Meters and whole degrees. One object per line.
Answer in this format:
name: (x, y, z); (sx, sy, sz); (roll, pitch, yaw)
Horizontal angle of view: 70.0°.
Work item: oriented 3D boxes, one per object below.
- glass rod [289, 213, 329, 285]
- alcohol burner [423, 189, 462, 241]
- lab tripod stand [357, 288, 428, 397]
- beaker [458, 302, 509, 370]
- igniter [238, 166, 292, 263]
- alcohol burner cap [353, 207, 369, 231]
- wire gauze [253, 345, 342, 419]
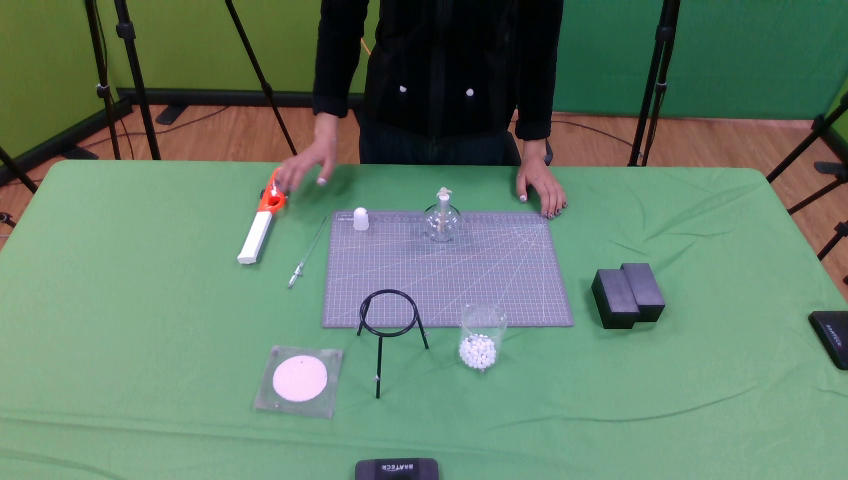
glass rod: (-0.221, 0.014, 1.179); (0.008, 0.008, 0.199); (12, 46, 9)
alcohol burner: (0.037, -0.055, 1.186); (0.078, 0.120, 0.077); (2, 48, -1)
lab tripod stand: (-0.058, 0.155, 0.967); (0.148, 0.132, 0.147); (3, 47, -3)
beaker: (0.092, 0.159, 0.999); (0.083, 0.101, 0.074); (35, 53, 28)
igniter: (-0.318, -0.060, 1.229); (0.057, 0.025, 0.275); (-2, 45, 10)
alcohol burner cap: (-0.127, -0.046, 1.215); (0.034, 0.048, 0.033); (2, 47, -2)
wire gauze: (-0.200, 0.224, 0.979); (0.125, 0.011, 0.121); (7, 47, 0)
